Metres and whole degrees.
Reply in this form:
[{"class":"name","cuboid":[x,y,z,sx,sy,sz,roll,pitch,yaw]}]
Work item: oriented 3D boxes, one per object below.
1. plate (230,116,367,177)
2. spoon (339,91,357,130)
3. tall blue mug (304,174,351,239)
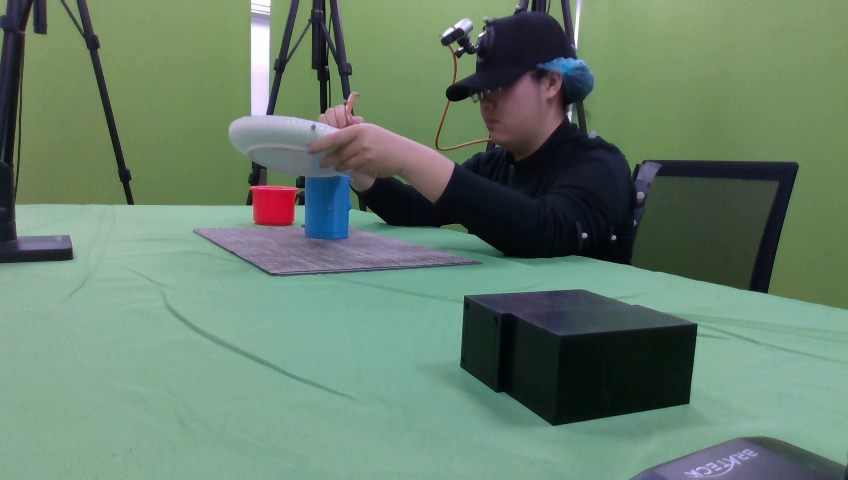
[{"class":"plate","cuboid":[-0.195,-0.136,0.940,0.208,0.039,0.207,6,-10,1]},{"class":"spoon","cuboid":[-0.150,-0.197,1.071,0.041,0.022,0.193,2,51,17]},{"class":"tall blue mug","cuboid":[-0.178,-0.062,1.062,0.078,0.108,0.106,-5,10,-38]}]
